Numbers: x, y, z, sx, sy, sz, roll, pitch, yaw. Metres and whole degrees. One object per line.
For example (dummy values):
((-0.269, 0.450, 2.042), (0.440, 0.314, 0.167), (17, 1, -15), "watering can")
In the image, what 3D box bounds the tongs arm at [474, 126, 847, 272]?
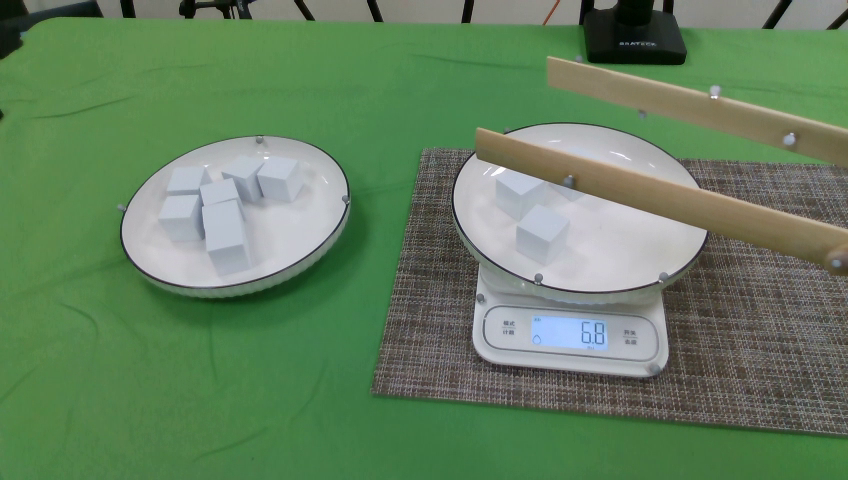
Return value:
((0.198, -0.007, 0.312), (0.385, 0.028, 0.028), (20, 48, 25), "tongs arm")

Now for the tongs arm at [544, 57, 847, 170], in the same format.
((0.228, -0.041, 0.339), (0.382, 0.027, 0.050), (24, 54, 28), "tongs arm")

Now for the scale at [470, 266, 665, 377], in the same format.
((0.120, 0.020, 0.517), (0.148, 0.032, 0.199), (4, 47, 7), "scale")

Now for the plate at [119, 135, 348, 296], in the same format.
((-0.174, -0.024, 0.575), (0.209, 0.038, 0.207), (-1, 46, 1), "plate")

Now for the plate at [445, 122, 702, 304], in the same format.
((0.122, -0.024, 0.513), (0.208, 0.039, 0.205), (-1, 47, 1), "plate")
